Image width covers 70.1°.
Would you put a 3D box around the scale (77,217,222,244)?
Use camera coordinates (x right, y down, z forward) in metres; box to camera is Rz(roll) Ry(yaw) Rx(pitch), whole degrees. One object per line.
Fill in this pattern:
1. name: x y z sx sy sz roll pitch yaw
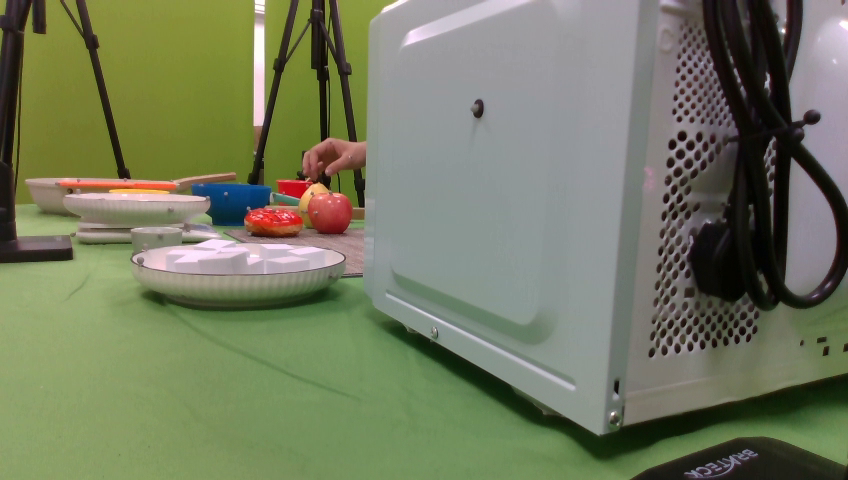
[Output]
1. scale: -0.434 -0.018 0.963 0.202 0.031 0.148 -1 8 -27

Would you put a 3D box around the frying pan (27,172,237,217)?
1. frying pan: -0.624 -0.118 1.387 0.305 0.102 0.490 8 17 32

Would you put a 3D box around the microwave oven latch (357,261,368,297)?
1. microwave oven latch: -0.019 0.033 0.530 0.079 0.029 0.030 -1 7 -26

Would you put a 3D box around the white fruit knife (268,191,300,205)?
1. white fruit knife: -0.364 -0.105 1.464 0.208 0.027 0.016 15 -1 -34

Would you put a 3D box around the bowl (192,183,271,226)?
1. bowl: -0.382 -0.071 1.202 0.151 0.077 0.151 3 7 0

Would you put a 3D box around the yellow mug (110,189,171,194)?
1. yellow mug: -0.519 -0.055 1.080 0.099 0.064 0.131 7 10 26

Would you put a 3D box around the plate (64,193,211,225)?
1. plate: -0.446 -0.050 0.952 0.209 0.038 0.209 2 7 0

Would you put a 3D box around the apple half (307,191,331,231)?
1. apple half: -0.196 -0.055 1.114 0.032 0.081 0.081 9 10 22

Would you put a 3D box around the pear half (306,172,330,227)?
1. pear half: -0.200 -0.079 1.204 0.056 0.110 0.076 2 10 2

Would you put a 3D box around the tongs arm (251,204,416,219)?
1. tongs arm: -0.211 -0.068 1.440 0.389 0.027 0.028 1 -1 -17

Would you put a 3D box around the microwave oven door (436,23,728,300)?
1. microwave oven door: 0.180 -0.072 0.621 0.358 0.243 0.039 -2 9 -29

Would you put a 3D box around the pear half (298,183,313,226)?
1. pear half: -0.235 -0.071 1.207 0.031 0.088 0.070 3 10 0

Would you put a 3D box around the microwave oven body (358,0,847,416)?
1. microwave oven body: 0.211 -0.047 0.475 0.444 0.260 0.324 -1 7 -28

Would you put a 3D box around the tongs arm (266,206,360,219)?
1. tongs arm: -0.174 -0.061 1.363 0.387 0.026 0.050 -1 3 -31

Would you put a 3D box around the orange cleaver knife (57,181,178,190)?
1. orange cleaver knife: -0.600 -0.109 1.189 0.212 0.012 0.077 -1 11 -26

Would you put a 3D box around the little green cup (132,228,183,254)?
1. little green cup: -0.342 0.006 0.779 0.061 0.038 0.061 2 8 0

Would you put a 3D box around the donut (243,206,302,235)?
1. donut: -0.261 -0.032 1.043 0.099 0.048 0.099 4 9 0

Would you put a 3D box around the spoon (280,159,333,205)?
1. spoon: -0.316 -0.159 1.640 0.194 0.022 0.041 -50 32 -20

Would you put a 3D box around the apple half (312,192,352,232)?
1. apple half: -0.160 -0.050 1.101 0.053 0.074 0.081 9 7 23

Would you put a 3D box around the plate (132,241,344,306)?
1. plate: -0.187 0.033 0.625 0.208 0.039 0.207 2 8 0

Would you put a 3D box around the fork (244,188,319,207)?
1. fork: -0.356 -0.105 1.526 0.208 0.018 0.028 16 -6 -41
